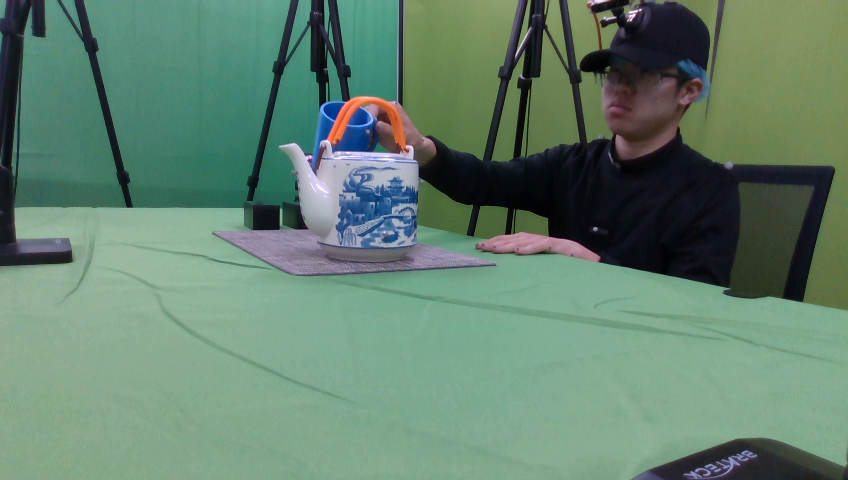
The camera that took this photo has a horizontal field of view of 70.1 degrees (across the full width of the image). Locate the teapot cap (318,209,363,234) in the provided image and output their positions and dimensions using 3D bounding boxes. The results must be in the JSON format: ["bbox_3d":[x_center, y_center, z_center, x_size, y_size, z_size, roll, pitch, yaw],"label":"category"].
[{"bbox_3d":[-0.158,-0.036,1.144,0.085,0.044,0.085,0,6,0],"label":"teapot cap"}]

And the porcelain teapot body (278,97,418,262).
[{"bbox_3d":[-0.103,-0.086,0.842,0.206,0.225,0.144,-4,9,-38],"label":"porcelain teapot body"}]

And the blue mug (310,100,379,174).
[{"bbox_3d":[-0.119,-0.158,0.964,0.117,0.106,0.082,-19,50,-41],"label":"blue mug"}]
